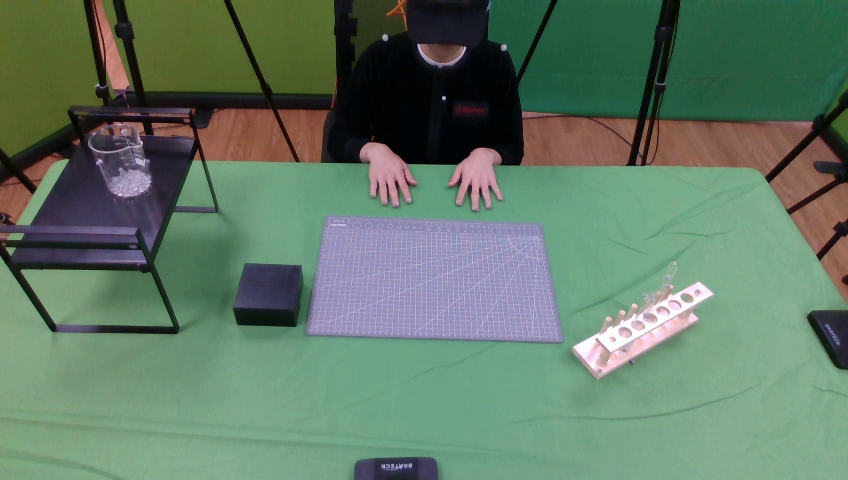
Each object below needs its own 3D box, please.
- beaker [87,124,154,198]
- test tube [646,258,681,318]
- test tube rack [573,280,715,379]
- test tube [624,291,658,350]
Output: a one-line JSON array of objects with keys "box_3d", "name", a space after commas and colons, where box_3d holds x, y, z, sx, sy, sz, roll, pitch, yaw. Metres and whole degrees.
[{"box_3d": [-0.482, -0.124, 0.978, 0.084, 0.101, 0.073, 9, 46, 4], "name": "beaker"}, {"box_3d": [0.406, 0.084, 1.032, 0.017, 0.151, 0.017, 1, 47, -1], "name": "test tube"}, {"box_3d": [0.378, 0.140, 1.038, 0.242, 0.085, 0.066, -22, 51, -23], "name": "test tube rack"}, {"box_3d": [0.348, 0.133, 0.974, 0.017, 0.151, 0.017, 1, 47, -1], "name": "test tube"}]
